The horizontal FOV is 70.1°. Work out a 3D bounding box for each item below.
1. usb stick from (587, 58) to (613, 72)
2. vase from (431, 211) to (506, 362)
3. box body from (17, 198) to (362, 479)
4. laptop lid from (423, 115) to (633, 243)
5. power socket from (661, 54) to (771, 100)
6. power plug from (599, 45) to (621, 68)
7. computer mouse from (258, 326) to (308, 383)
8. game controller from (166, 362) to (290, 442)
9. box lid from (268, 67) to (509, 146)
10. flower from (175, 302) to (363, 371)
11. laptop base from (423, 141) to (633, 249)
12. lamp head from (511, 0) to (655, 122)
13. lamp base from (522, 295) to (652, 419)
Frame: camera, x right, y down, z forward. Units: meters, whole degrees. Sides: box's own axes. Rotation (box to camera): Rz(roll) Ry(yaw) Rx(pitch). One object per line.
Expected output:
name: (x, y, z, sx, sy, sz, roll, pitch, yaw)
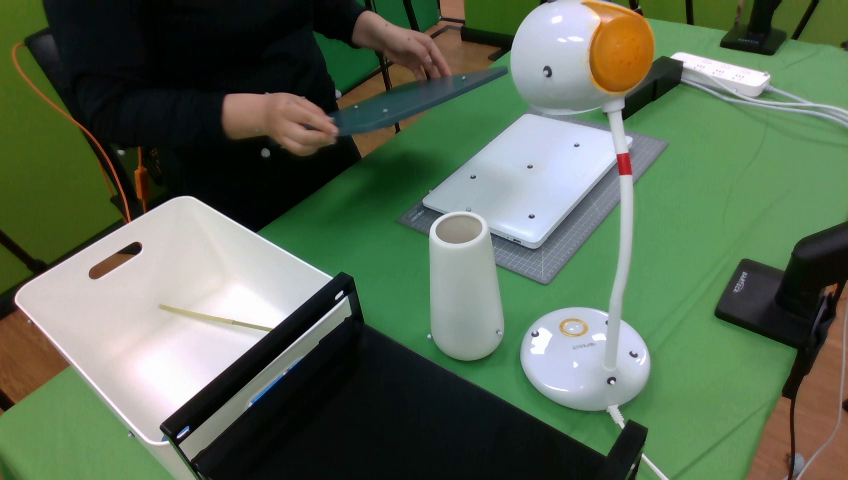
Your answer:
usb stick: (0.401, -0.399, 1.381, 0.059, 0.027, 0.021, 0, 49, 21)
vase: (0.054, 0.062, 0.757, 0.098, 0.201, 0.097, -3, 40, 3)
box body: (-0.285, 0.123, 0.766, 0.361, 0.161, 0.255, 25, 49, 33)
laptop lid: (0.190, -0.126, 1.081, 0.239, 0.013, 0.358, 23, 48, 34)
power socket: (0.615, -0.348, 1.285, 0.072, 0.033, 0.225, -36, 48, -29)
power plug: (0.437, -0.422, 1.412, 0.053, 0.035, 0.072, -19, 74, -46)
computer mouse: (-0.160, 0.157, 0.792, 0.116, 0.041, 0.063, 27, 47, 23)
game controller: (-0.233, 0.210, 0.737, 0.096, 0.052, 0.155, 27, 52, 32)
box lid: (-0.050, -0.226, 1.009, 0.261, 0.015, 0.373, 3, 26, 41)
flower: (-0.233, 0.119, 0.832, 0.359, 0.038, 0.044, 8, 84, 33)
laptop base: (0.194, -0.117, 1.088, 0.233, 0.023, 0.355, 21, 48, 34)
lamp head: (0.155, -0.168, 0.564, 0.113, 0.113, 0.122, -18, 23, -12)
lamp base: (0.201, 0.095, 0.710, 0.161, 0.181, 0.177, -16, 43, -10)
